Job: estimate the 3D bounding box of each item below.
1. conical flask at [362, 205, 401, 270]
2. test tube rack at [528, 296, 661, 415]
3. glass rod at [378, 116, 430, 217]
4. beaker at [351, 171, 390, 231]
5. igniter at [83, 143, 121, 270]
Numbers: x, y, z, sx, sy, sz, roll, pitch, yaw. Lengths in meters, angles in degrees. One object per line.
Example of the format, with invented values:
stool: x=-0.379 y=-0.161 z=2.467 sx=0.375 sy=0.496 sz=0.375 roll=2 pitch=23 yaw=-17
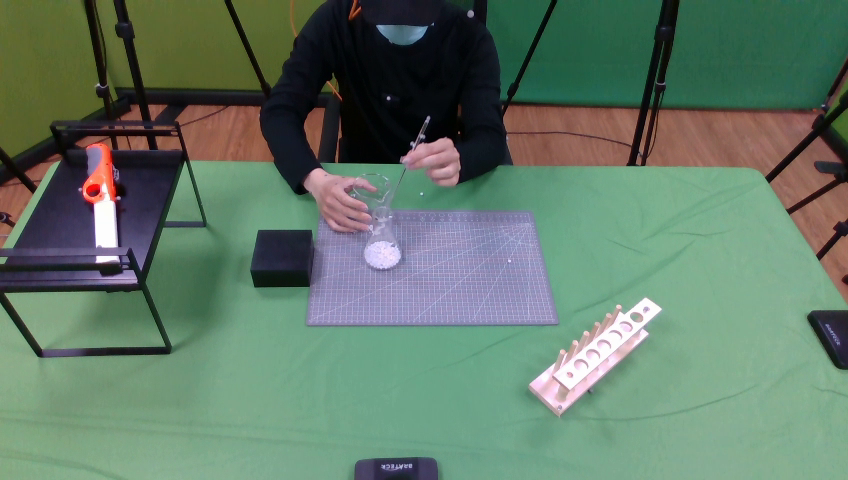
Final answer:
conical flask: x=-0.078 y=-0.008 z=1.127 sx=0.075 sy=0.122 sz=0.075 roll=2 pitch=46 yaw=-2
test tube rack: x=0.285 y=0.178 z=1.005 sx=0.242 sy=0.085 sz=0.066 roll=-31 pitch=55 yaw=-29
glass rod: x=-0.036 y=-0.124 z=1.048 sx=0.008 sy=0.200 sz=0.008 roll=24 pitch=21 yaw=-10
beaker: x=-0.103 y=-0.072 z=1.202 sx=0.074 sy=0.101 sz=0.083 roll=-21 pitch=52 yaw=-22
igniter: x=-0.509 y=-0.063 z=0.961 sx=0.057 sy=0.025 sz=0.274 roll=-14 pitch=53 yaw=-18
